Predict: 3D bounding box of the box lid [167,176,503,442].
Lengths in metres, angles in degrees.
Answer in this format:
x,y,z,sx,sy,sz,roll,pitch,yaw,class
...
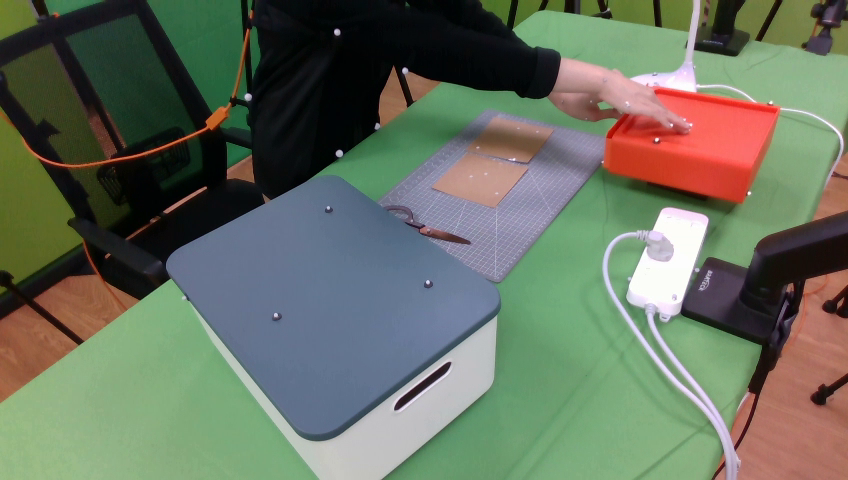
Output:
x,y,z,sx,sy,sz,roll,pitch,yaw,class
-0.119,0.047,0.714,0.264,0.015,0.368,-32,47,-27,box lid

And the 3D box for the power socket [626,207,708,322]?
x,y,z,sx,sy,sz,roll,pitch,yaw,class
0.360,0.026,0.886,0.072,0.033,0.227,16,46,26,power socket

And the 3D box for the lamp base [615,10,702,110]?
x,y,z,sx,sy,sz,roll,pitch,yaw,class
0.484,-0.364,1.211,0.180,0.181,0.159,-15,41,-14,lamp base

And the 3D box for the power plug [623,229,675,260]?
x,y,z,sx,sy,sz,roll,pitch,yaw,class
0.327,0.007,0.878,0.072,0.053,0.035,25,51,33,power plug

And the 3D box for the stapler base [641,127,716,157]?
x,y,z,sx,sy,sz,roll,pitch,yaw,class
0.431,-0.171,1.029,0.131,0.024,0.041,-18,23,-15,stapler base

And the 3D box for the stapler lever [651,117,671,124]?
x,y,z,sx,sy,sz,roll,pitch,yaw,class
0.427,-0.196,1.020,0.118,0.040,0.026,-17,23,-15,stapler lever

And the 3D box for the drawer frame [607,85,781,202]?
x,y,z,sx,sy,sz,roll,pitch,yaw,class
0.443,-0.166,0.997,0.212,0.083,0.202,20,46,29,drawer frame

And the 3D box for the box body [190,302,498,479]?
x,y,z,sx,sy,sz,roll,pitch,yaw,class
-0.110,0.103,0.761,0.255,0.161,0.361,-33,46,-27,box body

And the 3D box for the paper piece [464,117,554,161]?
x,y,z,sx,sy,sz,roll,pitch,yaw,class
0.170,-0.201,1.195,0.137,0.009,0.136,17,42,27,paper piece

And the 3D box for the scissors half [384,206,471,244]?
x,y,z,sx,sy,sz,roll,pitch,yaw,class
0.001,-0.024,1.005,0.174,0.013,0.040,22,57,25,scissors half

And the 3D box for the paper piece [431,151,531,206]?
x,y,z,sx,sy,sz,roll,pitch,yaw,class
0.104,-0.116,1.104,0.134,0.004,0.136,21,47,29,paper piece

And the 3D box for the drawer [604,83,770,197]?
x,y,z,sx,sy,sz,roll,pitch,yaw,class
0.432,-0.171,1.000,0.210,0.073,0.195,21,47,28,drawer

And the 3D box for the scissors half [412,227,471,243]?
x,y,z,sx,sy,sz,roll,pitch,yaw,class
-0.007,-0.010,0.993,0.174,0.013,0.040,8,47,15,scissors half
